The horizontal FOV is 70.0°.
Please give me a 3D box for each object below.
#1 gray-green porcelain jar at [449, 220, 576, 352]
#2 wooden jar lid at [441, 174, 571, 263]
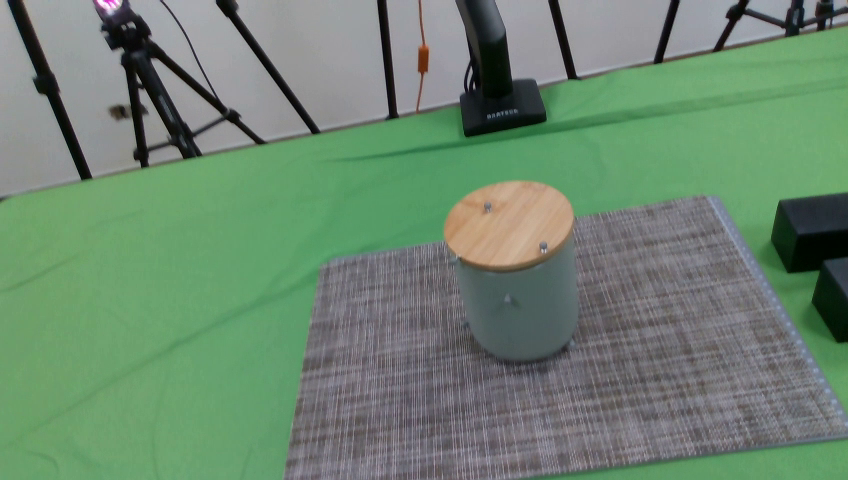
[{"bbox_3d":[0.083,0.031,0.549,0.106,0.128,0.105,-9,41,8],"label":"gray-green porcelain jar"},{"bbox_3d":[0.068,-0.016,0.508,0.108,0.021,0.107,-9,42,9],"label":"wooden jar lid"}]
